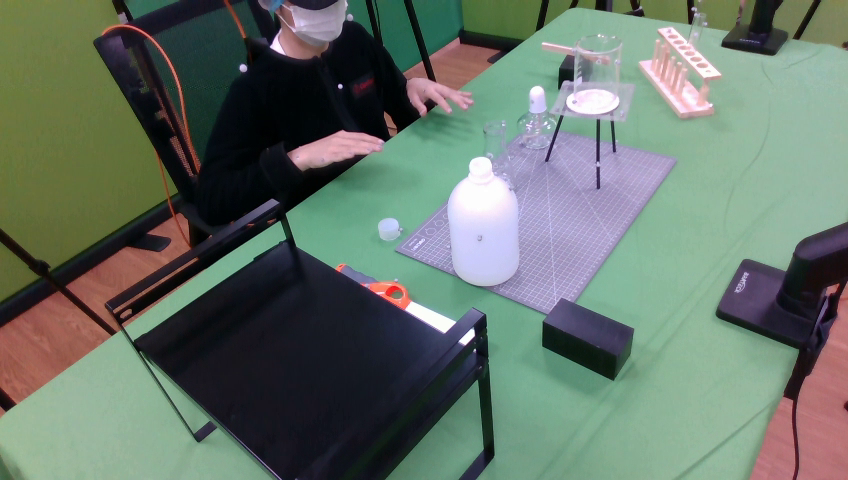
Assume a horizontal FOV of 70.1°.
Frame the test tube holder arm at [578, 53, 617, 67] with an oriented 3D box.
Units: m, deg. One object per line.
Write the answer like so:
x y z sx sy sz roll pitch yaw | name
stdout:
0.376 -0.393 1.314 0.087 0.015 0.010 26 50 32 | test tube holder arm

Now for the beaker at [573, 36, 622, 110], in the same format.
0.283 -0.273 0.990 0.073 0.101 0.084 16 46 28 | beaker

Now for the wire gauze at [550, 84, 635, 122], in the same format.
0.285 -0.234 1.021 0.124 0.011 0.121 8 41 23 | wire gauze

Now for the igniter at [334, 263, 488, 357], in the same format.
-0.030 0.095 0.872 0.274 0.025 0.057 23 60 31 | igniter

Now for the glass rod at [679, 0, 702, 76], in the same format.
0.543 -0.417 1.233 0.008 0.200 0.008 1 39 0 | glass rod

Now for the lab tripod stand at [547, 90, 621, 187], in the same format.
0.289 -0.184 1.062 0.148 0.132 0.147 -6 41 6 | lab tripod stand

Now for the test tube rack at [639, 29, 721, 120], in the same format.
0.527 -0.351 1.262 0.067 0.085 0.241 -8 40 1 | test tube rack

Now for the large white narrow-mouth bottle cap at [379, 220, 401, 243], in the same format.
-0.057 -0.015 1.011 0.038 0.024 0.037 -4 40 4 | large white narrow-mouth bottle cap

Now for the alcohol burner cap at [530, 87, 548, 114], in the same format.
0.212 -0.262 1.126 0.034 0.048 0.033 -8 36 7 | alcohol burner cap

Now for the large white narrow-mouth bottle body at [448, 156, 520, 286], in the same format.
0.086 -0.032 0.869 0.102 0.195 0.101 -4 40 4 | large white narrow-mouth bottle body

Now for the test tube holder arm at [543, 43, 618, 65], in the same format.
0.345 -0.413 1.341 0.177 0.015 0.013 25 49 32 | test tube holder arm

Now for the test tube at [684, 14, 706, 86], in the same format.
0.540 -0.378 1.215 0.017 0.151 0.017 -2 44 3 | test tube

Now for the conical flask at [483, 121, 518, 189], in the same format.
0.126 -0.145 1.051 0.075 0.122 0.075 -5 41 4 | conical flask

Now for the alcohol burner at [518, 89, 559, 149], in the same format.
0.218 -0.235 1.149 0.078 0.119 0.077 -5 43 5 | alcohol burner
